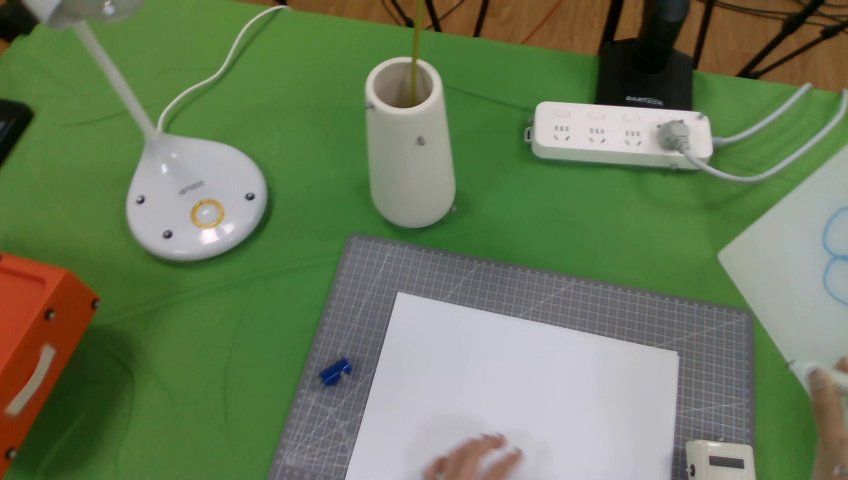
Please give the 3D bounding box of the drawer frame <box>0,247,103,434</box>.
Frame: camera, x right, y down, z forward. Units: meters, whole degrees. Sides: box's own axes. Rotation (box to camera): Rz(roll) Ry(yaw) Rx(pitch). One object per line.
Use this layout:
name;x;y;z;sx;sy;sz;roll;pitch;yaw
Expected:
drawer frame;-0.456;0.098;0.558;0.213;0.083;0.200;14;64;6

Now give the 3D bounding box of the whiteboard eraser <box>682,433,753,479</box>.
whiteboard eraser;0.265;0.233;0.544;0.055;0.042;0.112;6;63;3

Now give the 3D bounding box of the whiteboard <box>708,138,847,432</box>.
whiteboard;0.464;0.008;0.547;0.144;0.307;0.215;-9;60;-25

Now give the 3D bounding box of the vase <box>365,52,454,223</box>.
vase;-0.017;-0.100;0.636;0.098;0.201;0.097;-1;62;2

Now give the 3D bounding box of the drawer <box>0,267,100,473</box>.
drawer;-0.450;0.097;0.556;0.211;0.074;0.193;14;65;8

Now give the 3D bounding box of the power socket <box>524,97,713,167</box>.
power socket;0.238;-0.133;0.742;0.226;0.033;0.071;6;64;3

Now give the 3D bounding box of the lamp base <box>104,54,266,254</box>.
lamp base;-0.277;-0.098;0.649;0.160;0.182;0.178;-40;66;-18

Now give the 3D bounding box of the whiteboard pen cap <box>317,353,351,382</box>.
whiteboard pen cap;-0.092;0.128;0.617;0.033;0.018;0.018;-34;66;-15

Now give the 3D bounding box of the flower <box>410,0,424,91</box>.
flower;-0.009;-0.153;0.570;0.038;0.365;0.043;0;44;-6

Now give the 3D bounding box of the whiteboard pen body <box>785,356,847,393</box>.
whiteboard pen body;0.283;0.093;0.400;0.017;0.140;0.017;0;91;-1

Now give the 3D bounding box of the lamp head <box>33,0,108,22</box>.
lamp head;-0.237;-0.219;0.385;0.112;0.112;0.124;-47;109;-20

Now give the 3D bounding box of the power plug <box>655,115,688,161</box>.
power plug;0.285;-0.113;0.705;0.035;0.053;0.072;15;65;9
